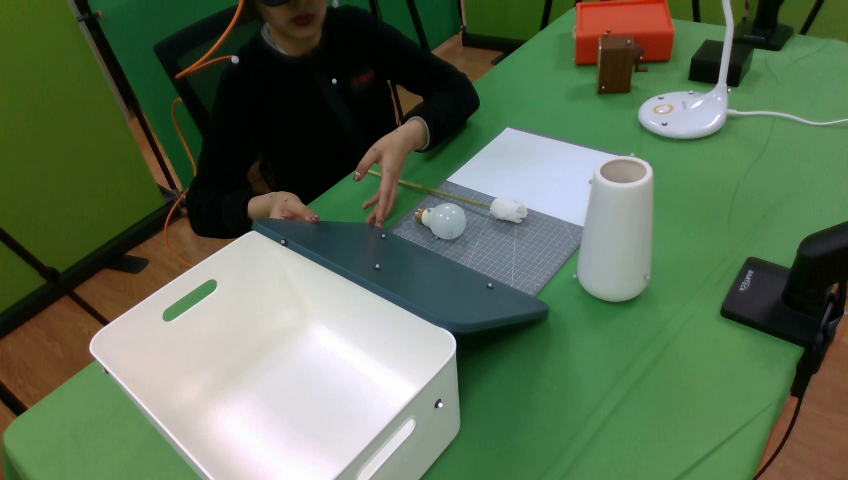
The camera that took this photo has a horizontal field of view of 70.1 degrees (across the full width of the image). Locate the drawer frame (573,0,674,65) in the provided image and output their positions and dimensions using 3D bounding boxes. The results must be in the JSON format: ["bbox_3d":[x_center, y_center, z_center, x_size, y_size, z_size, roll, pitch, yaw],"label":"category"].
[{"bbox_3d":[0.464,-0.492,1.434,0.213,0.083,0.201,1,40,12],"label":"drawer frame"}]

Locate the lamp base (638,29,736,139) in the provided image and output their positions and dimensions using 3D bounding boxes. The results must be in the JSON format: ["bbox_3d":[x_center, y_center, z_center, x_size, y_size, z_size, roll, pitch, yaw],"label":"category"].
[{"bbox_3d":[0.501,-0.302,1.125,0.179,0.181,0.160,-4,40,3],"label":"lamp base"}]

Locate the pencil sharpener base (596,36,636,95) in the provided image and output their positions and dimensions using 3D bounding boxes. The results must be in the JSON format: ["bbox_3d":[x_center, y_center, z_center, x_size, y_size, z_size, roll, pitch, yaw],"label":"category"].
[{"bbox_3d":[0.406,-0.369,1.280,0.076,0.107,0.061,1,41,13],"label":"pencil sharpener base"}]

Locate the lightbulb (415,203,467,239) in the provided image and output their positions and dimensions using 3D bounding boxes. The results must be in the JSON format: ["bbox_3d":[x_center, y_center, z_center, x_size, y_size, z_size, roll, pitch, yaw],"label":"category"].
[{"bbox_3d":[0.024,-0.034,0.998,0.060,0.060,0.107,-38,32,-30],"label":"lightbulb"}]

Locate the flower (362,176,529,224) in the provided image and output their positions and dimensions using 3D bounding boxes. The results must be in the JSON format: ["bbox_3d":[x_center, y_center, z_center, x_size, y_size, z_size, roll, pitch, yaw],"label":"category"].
[{"bbox_3d":[0.024,-0.083,1.087,0.359,0.038,0.044,16,16,33],"label":"flower"}]

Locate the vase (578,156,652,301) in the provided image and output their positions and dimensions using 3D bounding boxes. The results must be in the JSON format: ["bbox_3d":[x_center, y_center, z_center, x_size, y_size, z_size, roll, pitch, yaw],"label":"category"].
[{"bbox_3d":[0.261,-0.011,0.812,0.098,0.201,0.097,-4,40,4],"label":"vase"}]

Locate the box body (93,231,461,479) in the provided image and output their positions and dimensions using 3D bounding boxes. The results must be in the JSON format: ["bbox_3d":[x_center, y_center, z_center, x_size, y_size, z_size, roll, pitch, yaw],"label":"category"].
[{"bbox_3d":[-0.162,0.170,0.708,0.361,0.161,0.255,25,50,34],"label":"box body"}]

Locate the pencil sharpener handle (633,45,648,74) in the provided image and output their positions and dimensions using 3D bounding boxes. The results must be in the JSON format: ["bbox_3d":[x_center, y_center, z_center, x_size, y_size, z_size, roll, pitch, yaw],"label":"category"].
[{"bbox_3d":[0.454,-0.378,1.262,0.030,0.068,0.036,1,47,13],"label":"pencil sharpener handle"}]

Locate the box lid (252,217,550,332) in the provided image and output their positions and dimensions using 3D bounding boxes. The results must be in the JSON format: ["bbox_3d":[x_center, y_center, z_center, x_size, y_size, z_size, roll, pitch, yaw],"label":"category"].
[{"bbox_3d":[-0.032,0.036,0.834,0.368,0.015,0.265,24,13,33],"label":"box lid"}]

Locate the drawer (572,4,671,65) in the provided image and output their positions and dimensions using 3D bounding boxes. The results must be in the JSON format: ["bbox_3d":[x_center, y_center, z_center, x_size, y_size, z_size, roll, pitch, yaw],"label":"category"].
[{"bbox_3d":[0.461,-0.490,1.434,0.211,0.073,0.194,2,40,12],"label":"drawer"}]

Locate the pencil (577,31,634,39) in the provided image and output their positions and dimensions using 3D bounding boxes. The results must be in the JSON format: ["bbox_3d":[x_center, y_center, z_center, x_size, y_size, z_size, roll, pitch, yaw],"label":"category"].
[{"bbox_3d":[0.431,-0.489,1.443,0.012,0.012,0.192,-25,30,-18],"label":"pencil"}]
